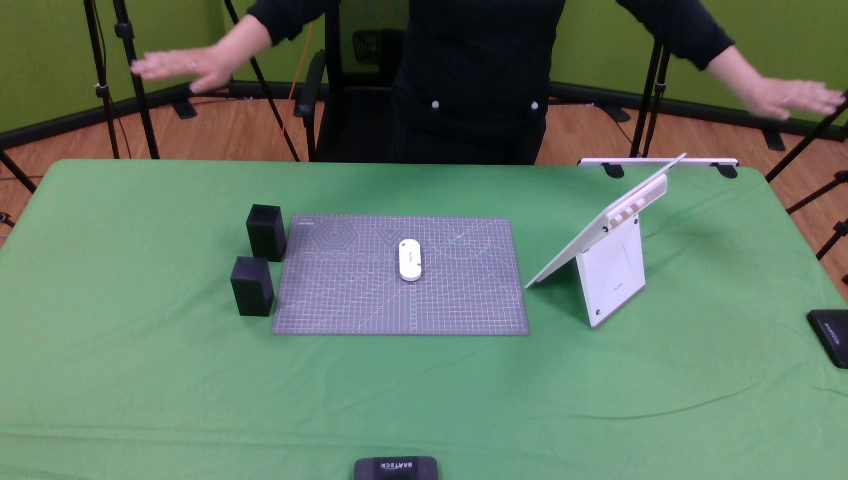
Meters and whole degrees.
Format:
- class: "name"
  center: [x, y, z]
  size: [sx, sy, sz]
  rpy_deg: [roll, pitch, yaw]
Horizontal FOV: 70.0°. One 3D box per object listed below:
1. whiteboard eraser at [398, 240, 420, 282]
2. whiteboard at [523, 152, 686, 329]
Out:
- class: "whiteboard eraser"
  center: [-0.029, 0.039, 1.156]
  size: [0.041, 0.019, 0.100]
  rpy_deg: [0, 45, -4]
- class: "whiteboard"
  center: [0.346, 0.024, 1.047]
  size: [0.217, 0.306, 0.143]
  rpy_deg: [-30, 74, -29]
